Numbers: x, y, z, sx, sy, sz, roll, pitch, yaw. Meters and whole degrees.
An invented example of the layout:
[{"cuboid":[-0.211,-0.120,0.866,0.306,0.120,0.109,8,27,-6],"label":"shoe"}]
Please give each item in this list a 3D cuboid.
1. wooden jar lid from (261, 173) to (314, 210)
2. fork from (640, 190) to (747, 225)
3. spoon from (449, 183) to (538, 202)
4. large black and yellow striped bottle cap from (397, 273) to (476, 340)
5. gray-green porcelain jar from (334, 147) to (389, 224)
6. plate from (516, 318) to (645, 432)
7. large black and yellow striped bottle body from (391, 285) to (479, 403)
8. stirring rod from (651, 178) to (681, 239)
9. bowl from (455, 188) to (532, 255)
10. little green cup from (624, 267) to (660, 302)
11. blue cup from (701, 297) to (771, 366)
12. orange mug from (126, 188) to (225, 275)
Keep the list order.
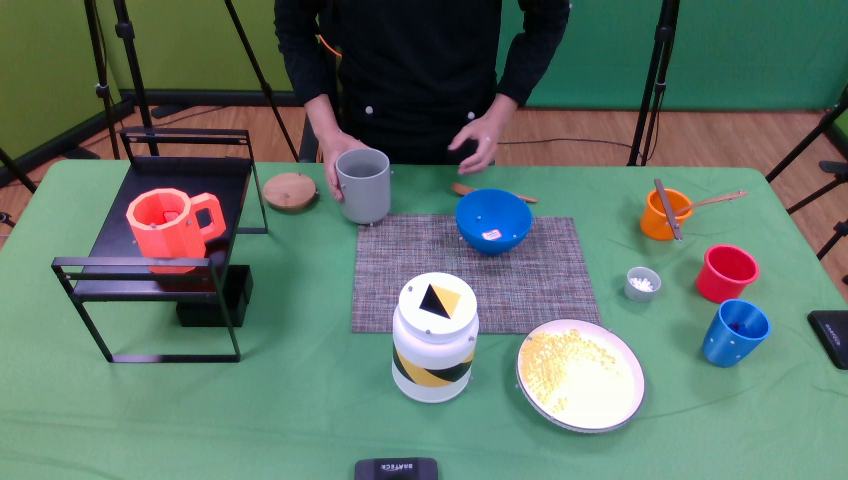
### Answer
[{"cuboid":[-0.286,-0.101,1.273,0.108,0.021,0.107,3,45,-3],"label":"wooden jar lid"},{"cuboid":[0.533,-0.065,1.211,0.207,0.019,0.028,-22,27,38],"label":"fork"},{"cuboid":[0.150,-0.101,1.306,0.194,0.022,0.041,6,26,2],"label":"spoon"},{"cuboid":[0.018,0.094,0.878,0.115,0.019,0.114,3,46,-3],"label":"large black and yellow striped bottle cap"},{"cuboid":[-0.123,-0.104,1.212,0.106,0.127,0.105,1,43,-1],"label":"gray-green porcelain jar"},{"cuboid":[0.253,0.221,0.992,0.209,0.038,0.208,2,46,-2],"label":"plate"},{"cuboid":[0.015,0.153,0.938,0.131,0.185,0.130,2,46,-2],"label":"large black and yellow striped bottle body"},{"cuboid":[0.479,-0.065,1.204,0.014,0.006,0.175,3,46,-4],"label":"stirring rod"},{"cuboid":[0.131,-0.025,1.187,0.151,0.077,0.150,2,45,-2],"label":"bowl"},{"cuboid":[0.406,0.084,1.135,0.061,0.039,0.061,3,45,-3],"label":"little green cup"},{"cuboid":[0.519,0.162,1.025,0.093,0.101,0.092,3,45,-3],"label":"blue cup"},{"cuboid":[-0.357,-0.020,0.884,0.126,0.101,0.083,-29,54,-23],"label":"orange mug"}]
